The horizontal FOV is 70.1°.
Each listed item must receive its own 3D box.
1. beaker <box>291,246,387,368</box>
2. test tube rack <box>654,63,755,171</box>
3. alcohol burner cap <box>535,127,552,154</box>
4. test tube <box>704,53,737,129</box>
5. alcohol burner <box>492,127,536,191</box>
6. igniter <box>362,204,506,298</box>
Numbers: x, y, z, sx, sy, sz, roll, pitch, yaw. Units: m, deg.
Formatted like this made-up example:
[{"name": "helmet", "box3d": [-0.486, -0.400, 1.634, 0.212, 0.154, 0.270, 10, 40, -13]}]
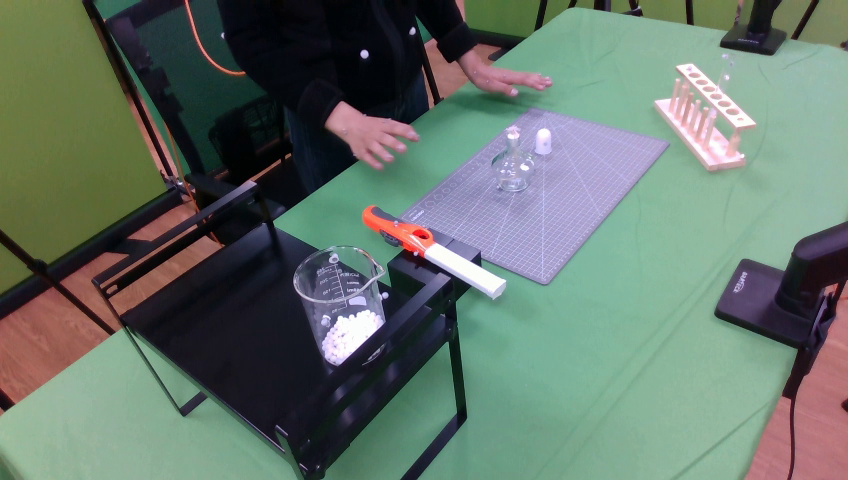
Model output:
[{"name": "beaker", "box3d": [-0.073, 0.066, 0.573, 0.084, 0.101, 0.073, -7, 41, 0]}, {"name": "test tube rack", "box3d": [0.510, -0.233, 1.120, 0.067, 0.085, 0.241, -8, 41, -1]}, {"name": "alcohol burner cap", "box3d": [0.227, -0.190, 1.142, 0.034, 0.048, 0.033, -3, 40, 3]}, {"name": "test tube", "box3d": [0.526, -0.261, 1.075, 0.017, 0.151, 0.017, -2, 44, 2]}, {"name": "alcohol burner", "box3d": [0.156, -0.146, 1.046, 0.078, 0.119, 0.077, -4, 43, 4]}, {"name": "igniter", "box3d": [0.003, 0.009, 0.887, 0.274, 0.025, 0.057, 30, 48, 33]}]
